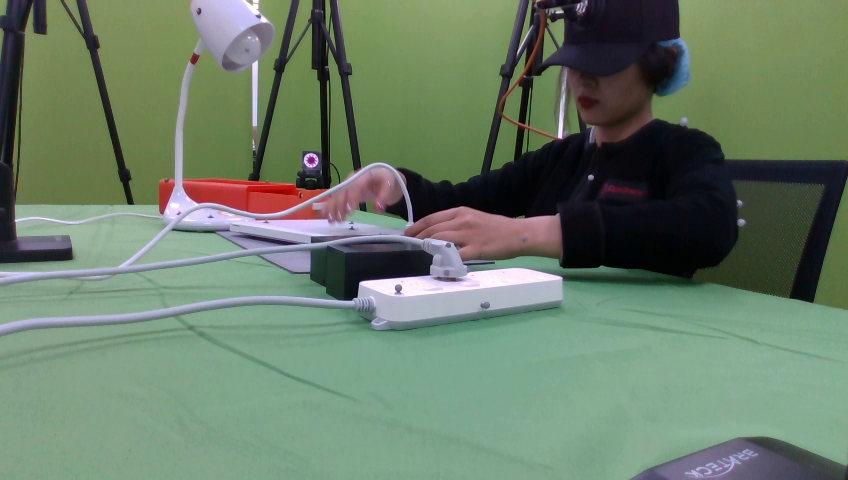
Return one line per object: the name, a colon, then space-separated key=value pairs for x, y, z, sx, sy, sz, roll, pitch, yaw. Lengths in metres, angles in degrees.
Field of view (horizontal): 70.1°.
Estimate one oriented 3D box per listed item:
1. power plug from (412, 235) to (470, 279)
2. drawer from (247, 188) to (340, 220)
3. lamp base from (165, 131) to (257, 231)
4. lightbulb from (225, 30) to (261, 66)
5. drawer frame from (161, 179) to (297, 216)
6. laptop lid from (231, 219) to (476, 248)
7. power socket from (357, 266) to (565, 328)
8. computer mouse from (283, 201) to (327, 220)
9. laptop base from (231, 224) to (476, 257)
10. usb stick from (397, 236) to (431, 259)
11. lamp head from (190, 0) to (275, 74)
power plug: x=0.017 y=0.023 z=0.588 sx=0.035 sy=0.052 sz=0.072 roll=-1 pitch=8 yaw=-24
drawer: x=-0.314 y=-0.078 z=1.301 sx=0.211 sy=0.073 sz=0.195 roll=4 pitch=8 yaw=15
lamp base: x=-0.407 y=-0.112 z=1.119 sx=0.179 sy=0.180 sz=0.161 roll=-1 pitch=7 yaw=7
lightbulb: x=-0.317 y=-0.335 z=1.001 sx=0.107 sy=0.059 sz=0.059 roll=45 pitch=15 yaw=6
drawer frame: x=-0.421 y=-0.089 z=1.329 sx=0.213 sy=0.082 sz=0.202 roll=4 pitch=8 yaw=16
laptop lid: x=-0.119 y=-0.016 z=1.000 sx=0.355 sy=0.013 sz=0.243 roll=8 pitch=7 yaw=39
power socket: x=0.041 y=0.049 z=0.572 sx=0.228 sy=0.032 sz=0.072 roll=-3 pitch=8 yaw=-35
computer mouse: x=-0.254 y=-0.062 z=1.293 sx=0.063 sy=0.041 sz=0.117 roll=0 pitch=2 yaw=10
laptop base: x=-0.121 y=-0.004 z=1.000 sx=0.352 sy=0.023 sz=0.237 roll=8 pitch=6 yaw=38
usb stick: x=-0.019 y=0.010 z=0.821 sx=0.059 sy=0.027 sz=0.021 roll=3 pitch=12 yaw=40
lamp head: x=-0.331 y=-0.355 z=1.008 sx=0.123 sy=0.112 sz=0.112 roll=43 pitch=15 yaw=6
